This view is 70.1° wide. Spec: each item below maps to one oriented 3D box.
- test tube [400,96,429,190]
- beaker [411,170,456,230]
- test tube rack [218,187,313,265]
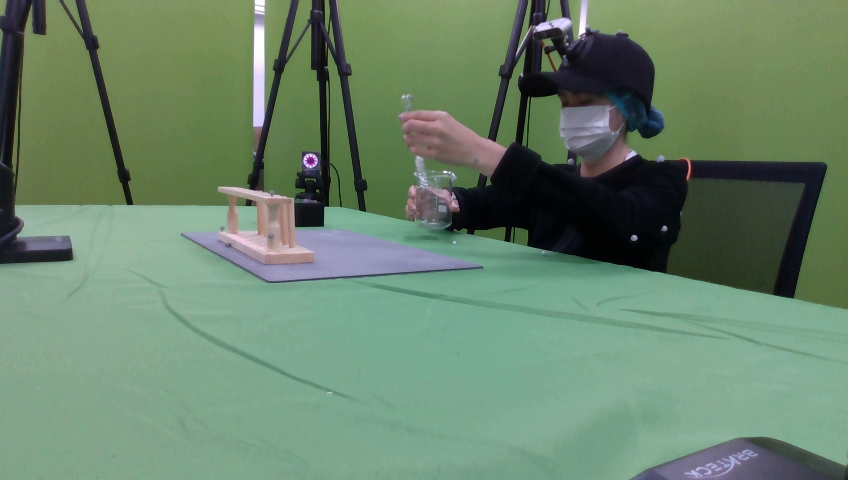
[{"bbox_3d":[-0.014,-0.153,0.956,0.017,0.150,0.017,-13,12,3],"label":"test tube"},{"bbox_3d":[0.018,-0.073,1.110,0.084,0.100,0.074,5,16,19],"label":"beaker"},{"bbox_3d":[-0.235,-0.027,0.872,0.067,0.085,0.241,-2,8,-32],"label":"test tube rack"}]
